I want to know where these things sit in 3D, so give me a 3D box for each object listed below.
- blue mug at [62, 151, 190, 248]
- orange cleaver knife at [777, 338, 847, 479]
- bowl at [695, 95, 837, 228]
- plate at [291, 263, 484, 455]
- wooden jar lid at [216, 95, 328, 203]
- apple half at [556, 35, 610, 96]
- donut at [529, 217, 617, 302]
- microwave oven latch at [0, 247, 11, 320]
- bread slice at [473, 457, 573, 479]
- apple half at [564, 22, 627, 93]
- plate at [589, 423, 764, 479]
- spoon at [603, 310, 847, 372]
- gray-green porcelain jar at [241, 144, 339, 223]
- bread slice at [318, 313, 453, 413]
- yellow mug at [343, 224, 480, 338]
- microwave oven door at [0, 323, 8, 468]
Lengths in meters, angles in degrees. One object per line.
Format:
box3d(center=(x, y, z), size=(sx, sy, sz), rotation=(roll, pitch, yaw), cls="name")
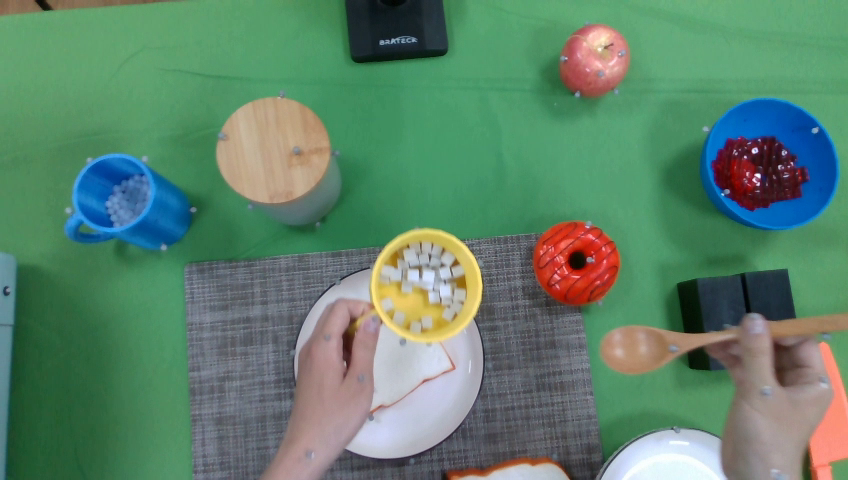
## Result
box3d(center=(-0.326, -0.032, 0.652), size=(0.116, 0.106, 0.082), rotation=(-31, 83, -6), cls="blue mug")
box3d(center=(0.452, 0.219, 0.686), size=(0.077, 0.012, 0.210), rotation=(-4, 80, -10), cls="orange cleaver knife")
box3d(center=(0.377, -0.082, 0.699), size=(0.151, 0.077, 0.151), rotation=(0, 81, -2), cls="bowl")
box3d(center=(-0.039, 0.127, 0.669), size=(0.208, 0.039, 0.207), rotation=(0, 82, -2), cls="plate")
box3d(center=(-0.148, -0.088, 0.594), size=(0.108, 0.021, 0.108), rotation=(0, 79, -1), cls="wooden jar lid")
box3d(center=(0.178, -0.195, 0.711), size=(0.033, 0.081, 0.081), rotation=(-38, 84, -12), cls="apple half")
box3d(center=(0.169, 0.022, 0.689), size=(0.099, 0.048, 0.098), rotation=(0, 82, -2), cls="donut")
box3d(center=(-0.466, 0.046, 0.650), size=(0.030, 0.029, 0.079), rotation=(0, 82, -3), cls="microwave oven latch")
box3d(center=(0.105, 0.287, 0.626), size=(0.135, 0.018, 0.106), rotation=(-10, 78, -24), cls="bread slice")
box3d(center=(0.207, -0.219, 0.717), size=(0.053, 0.075, 0.080), rotation=(-37, 80, -13), cls="apple half")
box3d(center=(0.272, 0.303, 0.656), size=(0.209, 0.038, 0.208), rotation=(0, 81, -1), cls="plate")
box3d(center=(0.241, 0.075, 0.477), size=(0.193, 0.022, 0.041), rotation=(-13, 62, 25), cls="spoon")
box3d(center=(-0.149, -0.077, 0.655), size=(0.106, 0.127, 0.105), rotation=(0, 81, -2), cls="gray-green porcelain jar")
box3d(center=(-0.048, 0.129, 0.669), size=(0.131, 0.019, 0.104), rotation=(-31, 83, -7), cls="bread slice")
box3d(center=(-0.017, 0.047, 0.559), size=(0.131, 0.064, 0.100), rotation=(-30, 89, -8), cls="yellow mug")
box3d(center=(-0.456, 0.246, 0.516), size=(0.039, 0.244, 0.354), rotation=(-2, 81, -2), cls="microwave oven door")
